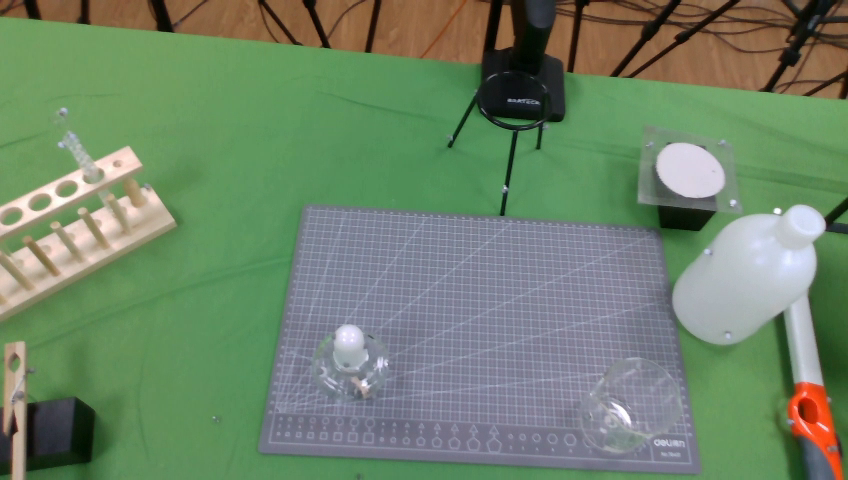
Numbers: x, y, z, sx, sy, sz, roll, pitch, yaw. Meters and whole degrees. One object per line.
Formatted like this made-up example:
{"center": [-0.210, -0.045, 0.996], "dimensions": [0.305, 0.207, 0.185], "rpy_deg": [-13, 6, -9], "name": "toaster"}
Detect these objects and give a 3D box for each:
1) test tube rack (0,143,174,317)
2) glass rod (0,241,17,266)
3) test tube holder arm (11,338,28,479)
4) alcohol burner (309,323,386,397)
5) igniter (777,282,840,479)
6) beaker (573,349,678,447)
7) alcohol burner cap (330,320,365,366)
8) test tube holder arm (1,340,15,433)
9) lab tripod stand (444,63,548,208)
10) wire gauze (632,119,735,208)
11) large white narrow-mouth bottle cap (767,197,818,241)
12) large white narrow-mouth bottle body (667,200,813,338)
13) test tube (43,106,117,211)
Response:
{"center": [-0.410, -0.003, 0.655], "dimensions": [0.242, 0.086, 0.066], "rpy_deg": [-33, 68, -21], "name": "test tube rack"}
{"center": [-0.444, -0.033, 0.594], "dimensions": [0.008, 0.201, 0.008], "rpy_deg": [4, 50, -4], "name": "glass rod"}
{"center": [-0.364, 0.171, 0.543], "dimensions": [0.013, 0.015, 0.176], "rpy_deg": [-11, 62, -20], "name": "test tube holder arm"}
{"center": [-0.075, 0.112, 0.598], "dimensions": [0.078, 0.120, 0.077], "rpy_deg": [3, 59, -5], "name": "alcohol burner"}
{"center": [0.417, 0.162, 0.664], "dimensions": [0.057, 0.025, 0.274], "rpy_deg": [15, 59, -8], "name": "igniter"}
{"center": [0.191, 0.161, 0.600], "dimensions": [0.084, 0.101, 0.073], "rpy_deg": [1, 59, -3], "name": "beaker"}
{"center": [-0.073, 0.094, 0.567], "dimensions": [0.034, 0.048, 0.033], "rpy_deg": [1, 55, -1], "name": "alcohol burner cap"}
{"center": [-0.384, 0.135, 0.561], "dimensions": [0.010, 0.015, 0.087], "rpy_deg": [-11, 62, -20], "name": "test tube holder arm"}
{"center": [0.095, -0.134, 0.746], "dimensions": [0.148, 0.132, 0.147], "rpy_deg": [3, 61, -5], "name": "lab tripod stand"}
{"center": [0.322, -0.095, 0.758], "dimensions": [0.121, 0.011, 0.124], "rpy_deg": [11, 59, 2], "name": "wire gauze"}
{"center": [0.344, -0.020, 0.566], "dimensions": [0.038, 0.024, 0.037], "rpy_deg": [2, 60, -3], "name": "large white narrow-mouth bottle cap"}
{"center": [0.339, 0.025, 0.639], "dimensions": [0.102, 0.196, 0.101], "rpy_deg": [2, 59, -3], "name": "large white narrow-mouth bottle body"}
{"center": [-0.363, -0.081, 0.645], "dimensions": [0.017, 0.151, 0.017], "rpy_deg": [1, 54, 0], "name": "test tube"}
